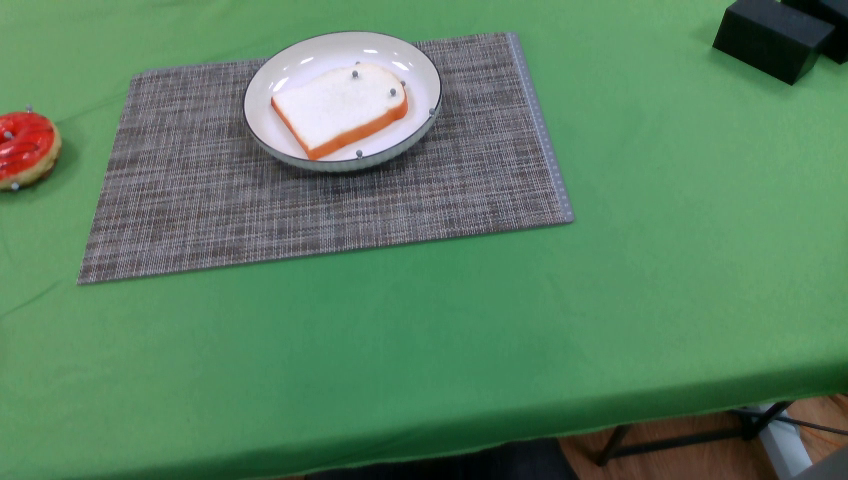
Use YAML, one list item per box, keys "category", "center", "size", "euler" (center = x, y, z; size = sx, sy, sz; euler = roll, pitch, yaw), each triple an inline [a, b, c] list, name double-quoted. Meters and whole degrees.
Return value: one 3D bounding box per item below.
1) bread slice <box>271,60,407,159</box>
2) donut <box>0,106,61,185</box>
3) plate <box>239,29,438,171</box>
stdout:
- category: "bread slice"
  center: [-0.087, -0.149, 0.649]
  size: [0.131, 0.019, 0.104]
  euler: [-29, 58, -16]
- category: "donut"
  center: [-0.430, -0.100, 0.630]
  size: [0.099, 0.049, 0.098]
  euler: [-3, 55, 4]
- category: "plate"
  center: [-0.088, -0.146, 0.645]
  size: [0.207, 0.039, 0.205]
  euler: [-1, 54, 2]
